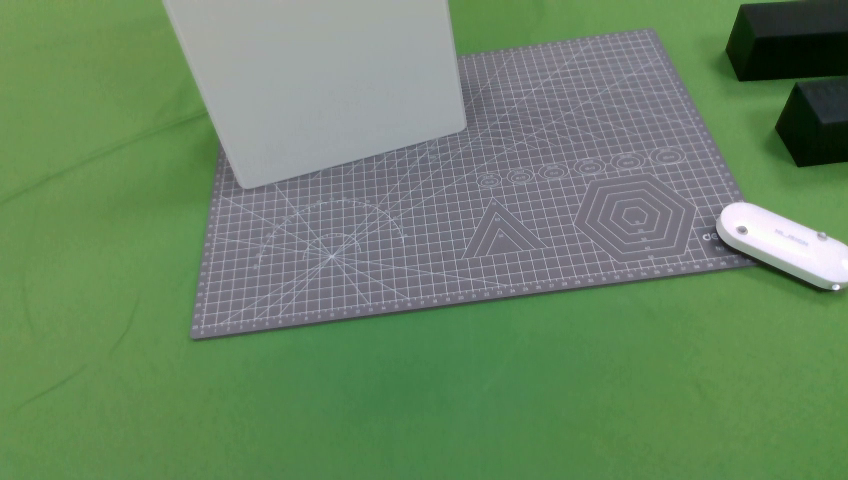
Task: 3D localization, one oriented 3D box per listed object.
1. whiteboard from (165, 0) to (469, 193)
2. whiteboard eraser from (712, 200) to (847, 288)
[{"bbox_3d":[-0.102,-0.232,0.525,0.217,0.308,0.142,-16,34,-4],"label":"whiteboard"},{"bbox_3d":[0.271,0.002,0.455,0.100,0.019,0.041,28,60,22],"label":"whiteboard eraser"}]
